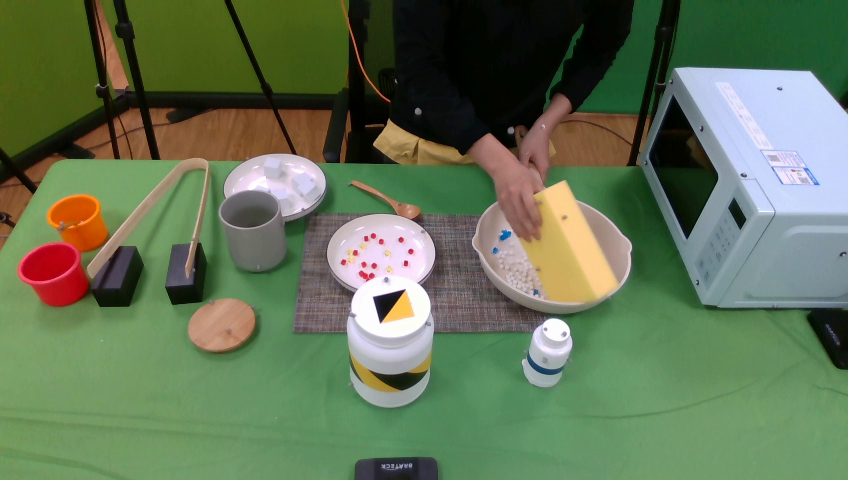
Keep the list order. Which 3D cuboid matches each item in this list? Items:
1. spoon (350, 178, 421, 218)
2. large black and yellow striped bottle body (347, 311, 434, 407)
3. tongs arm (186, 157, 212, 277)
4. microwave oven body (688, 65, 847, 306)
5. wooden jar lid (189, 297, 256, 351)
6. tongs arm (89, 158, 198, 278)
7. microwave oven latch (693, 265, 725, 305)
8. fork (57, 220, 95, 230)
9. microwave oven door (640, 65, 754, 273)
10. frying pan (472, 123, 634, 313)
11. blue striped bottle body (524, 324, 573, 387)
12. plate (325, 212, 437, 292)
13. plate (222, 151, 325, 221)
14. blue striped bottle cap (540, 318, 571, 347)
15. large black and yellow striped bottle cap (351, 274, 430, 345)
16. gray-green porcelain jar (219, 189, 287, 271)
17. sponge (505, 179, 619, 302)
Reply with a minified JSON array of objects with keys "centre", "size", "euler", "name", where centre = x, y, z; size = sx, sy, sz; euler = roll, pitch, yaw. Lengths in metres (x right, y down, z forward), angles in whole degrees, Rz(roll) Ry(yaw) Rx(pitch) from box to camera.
[{"centre":[-0.084,-0.092,1.272],"size":[0.193,0.022,0.041],"euler":[31,69,25],"name":"spoon"},{"centre":[-0.052,0.157,0.929],"size":[0.131,0.185,0.130],"euler":[2,47,-2],"name":"large black and yellow striped bottle body"},{"centre":[-0.445,-0.058,1.168],"size":[0.051,0.026,0.382],"euler":[-5,37,-6],"name":"tongs arm"},{"centre":[0.669,-0.111,1.176],"size":[0.326,0.261,0.439],"euler":[0,46,-3],"name":"microwave oven body"},{"centre":[-0.342,0.145,1.033],"size":[0.108,0.021,0.107],"euler":[2,45,-2],"name":"wooden jar lid"},{"centre":[-0.529,-0.057,1.164],"size":[0.028,0.028,0.385],"euler":[1,36,8],"name":"tongs arm"},{"centre":[0.523,0.082,1.116],"size":[0.030,0.029,0.078],"euler":[2,46,-1],"name":"microwave oven latch"},{"centre":[-0.624,-0.027,1.087],"size":[0.028,0.207,0.018],"euler":[-3,92,-17],"name":"fork"},{"centre":[0.523,-0.147,1.193],"size":[0.039,0.245,0.353],"euler":[0,47,-3],"name":"microwave oven door"},{"centre":[0.235,-0.060,1.207],"size":[0.307,0.103,0.484],"euler":[1,55,-6],"name":"frying pan"},{"centre":[0.200,0.178,0.970],"size":[0.063,0.121,0.062],"euler":[2,46,-1],"name":"blue striped bottle body"},{"centre":[-0.080,0.030,1.143],"size":[0.209,0.038,0.208],"euler":[2,46,-2],"name":"plate"},{"centre":[-0.310,-0.106,1.263],"size":[0.208,0.039,0.206],"euler":[2,47,-2],"name":"plate"},{"centre":[0.203,0.142,0.933],"size":[0.044,0.021,0.044],"euler":[3,49,-3],"name":"blue striped bottle cap"},{"centre":[-0.048,0.097,0.867],"size":[0.115,0.019,0.114],"euler":[3,48,-3],"name":"large black and yellow striped bottle cap"},{"centre":[-0.309,-0.014,1.113],"size":[0.106,0.127,0.105],"euler":[2,46,-2],"name":"gray-green porcelain jar"},{"centre":[0.240,0.010,1.070],"size":[0.061,0.118,0.206],"euler":[-25,87,-32],"name":"sponge"}]
